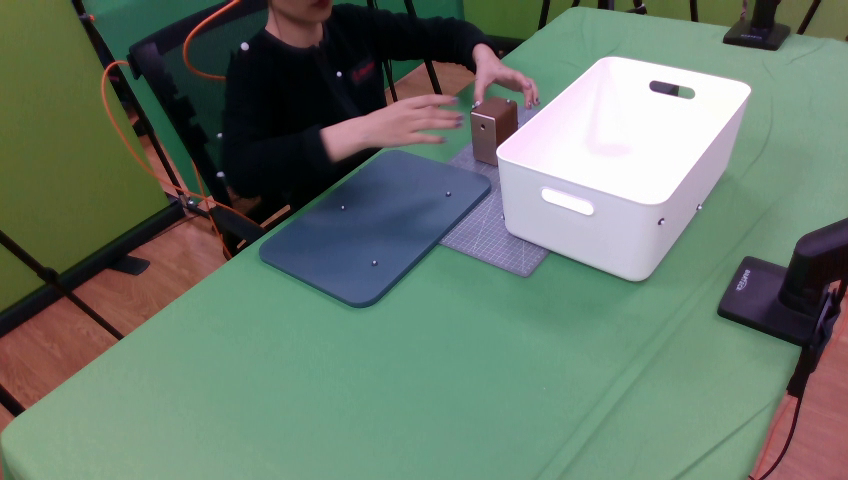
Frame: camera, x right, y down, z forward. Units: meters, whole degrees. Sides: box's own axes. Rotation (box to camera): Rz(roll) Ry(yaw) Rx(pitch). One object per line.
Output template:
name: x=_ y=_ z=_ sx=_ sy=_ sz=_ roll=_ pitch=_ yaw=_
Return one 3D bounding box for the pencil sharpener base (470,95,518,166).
pencil sharpener base: x=0.134 y=-0.205 z=1.128 sx=0.061 sy=0.107 sz=0.077 roll=23 pitch=50 yaw=34

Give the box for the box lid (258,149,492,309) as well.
box lid: x=-0.078 y=-0.040 z=1.052 sx=0.261 sy=0.015 sz=0.372 roll=22 pitch=49 yaw=32

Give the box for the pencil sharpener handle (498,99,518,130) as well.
pencil sharpener handle: x=0.165 y=-0.243 z=1.148 sx=0.035 sy=0.068 sz=0.031 roll=23 pitch=49 yaw=34

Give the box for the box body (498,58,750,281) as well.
box body: x=0.315 y=-0.124 z=0.958 sx=0.252 sy=0.161 sz=0.365 roll=23 pitch=50 yaw=32
